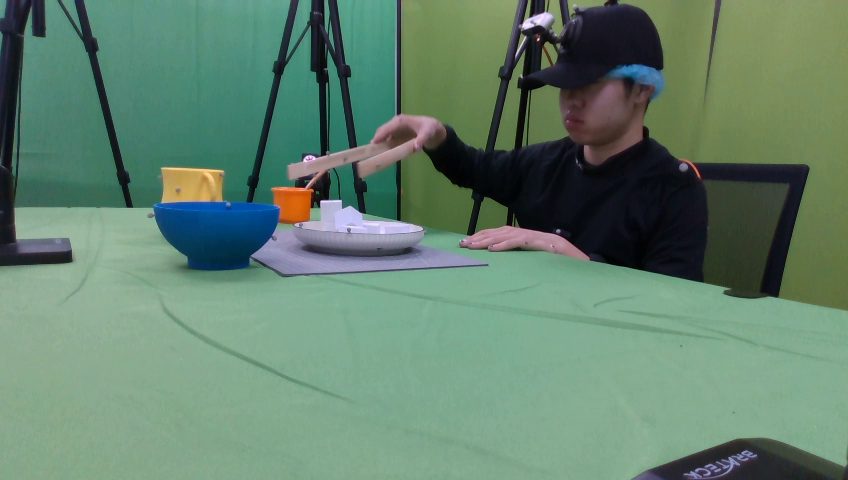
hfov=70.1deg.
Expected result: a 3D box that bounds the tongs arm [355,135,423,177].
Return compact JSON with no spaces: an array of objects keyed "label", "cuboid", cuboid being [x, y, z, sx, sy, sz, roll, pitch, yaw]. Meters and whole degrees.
[{"label":"tongs arm","cuboid":[-0.057,-0.162,1.131,0.028,0.028,0.388,-7,14,17]}]

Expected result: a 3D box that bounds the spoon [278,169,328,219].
[{"label":"spoon","cuboid":[-0.262,-0.115,1.359,0.041,0.194,0.022,12,-33,38]}]

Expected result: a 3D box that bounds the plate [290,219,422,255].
[{"label":"plate","cuboid":[-0.108,-0.005,0.963,0.208,0.039,0.207,3,7,0]}]

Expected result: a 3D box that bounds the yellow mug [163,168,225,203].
[{"label":"yellow mug","cuboid":[-0.383,-0.087,1.026,0.130,0.064,0.100,11,11,44]}]

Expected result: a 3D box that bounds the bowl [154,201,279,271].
[{"label":"bowl","cuboid":[-0.263,-0.005,0.773,0.151,0.077,0.151,3,8,0]}]

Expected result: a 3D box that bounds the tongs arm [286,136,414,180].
[{"label":"tongs arm","cuboid":[-0.124,-0.163,1.159,0.050,0.026,0.386,-1,15,27]}]
